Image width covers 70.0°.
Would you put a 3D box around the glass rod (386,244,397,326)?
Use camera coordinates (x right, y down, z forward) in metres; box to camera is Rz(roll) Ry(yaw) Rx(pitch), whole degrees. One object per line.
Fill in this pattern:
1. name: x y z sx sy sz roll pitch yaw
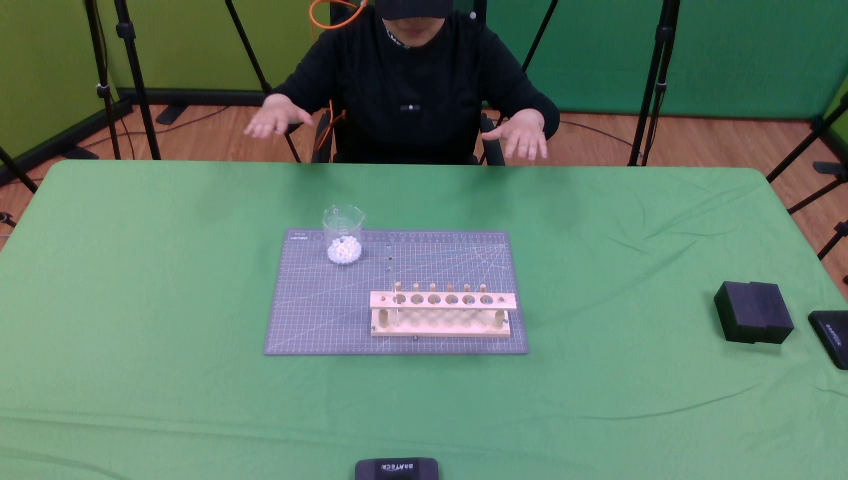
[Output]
1. glass rod: -0.052 0.078 0.979 0.008 0.201 0.008 -1 45 1

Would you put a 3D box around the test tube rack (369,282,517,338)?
1. test tube rack: 0.030 0.116 1.041 0.242 0.085 0.066 1 46 -3

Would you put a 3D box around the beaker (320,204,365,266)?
1. beaker: -0.151 -0.008 1.137 0.084 0.101 0.073 -12 49 -17
